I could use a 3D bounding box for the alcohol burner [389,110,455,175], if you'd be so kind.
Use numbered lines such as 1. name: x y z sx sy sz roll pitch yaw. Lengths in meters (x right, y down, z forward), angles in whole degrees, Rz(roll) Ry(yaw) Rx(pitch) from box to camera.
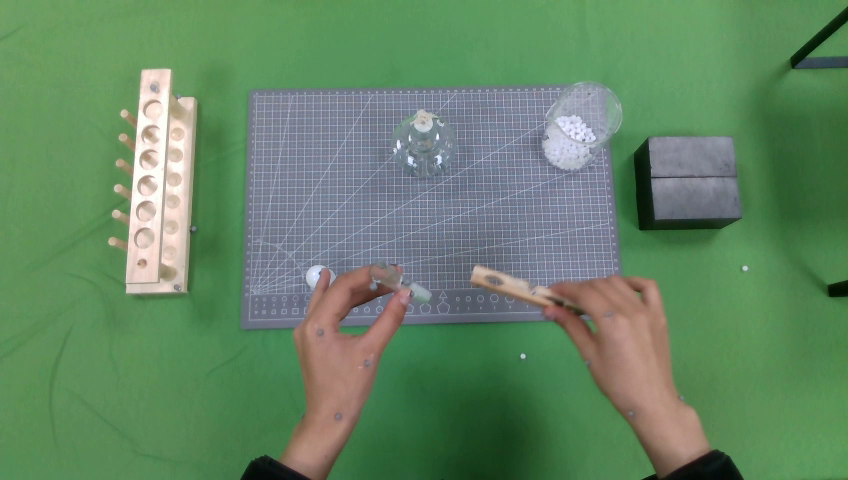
1. alcohol burner: -0.003 -0.119 0.694 0.078 0.119 0.077 0 78 1

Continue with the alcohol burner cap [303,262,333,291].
1. alcohol burner cap: -0.124 0.040 0.695 0.034 0.048 0.033 0 78 -2

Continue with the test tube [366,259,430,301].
1. test tube: -0.019 0.038 0.528 0.017 0.151 0.017 -3 77 14

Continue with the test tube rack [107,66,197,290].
1. test tube rack: -0.315 -0.068 0.695 0.067 0.085 0.241 -1 78 -1

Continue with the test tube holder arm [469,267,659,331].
1. test tube holder arm: 0.128 0.054 0.561 0.178 0.015 0.013 15 74 5

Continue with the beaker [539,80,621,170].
1. beaker: 0.175 -0.129 0.707 0.084 0.100 0.073 -3 77 0

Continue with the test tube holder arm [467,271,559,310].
1. test tube holder arm: 0.083 0.047 0.563 0.088 0.015 0.010 17 75 5
